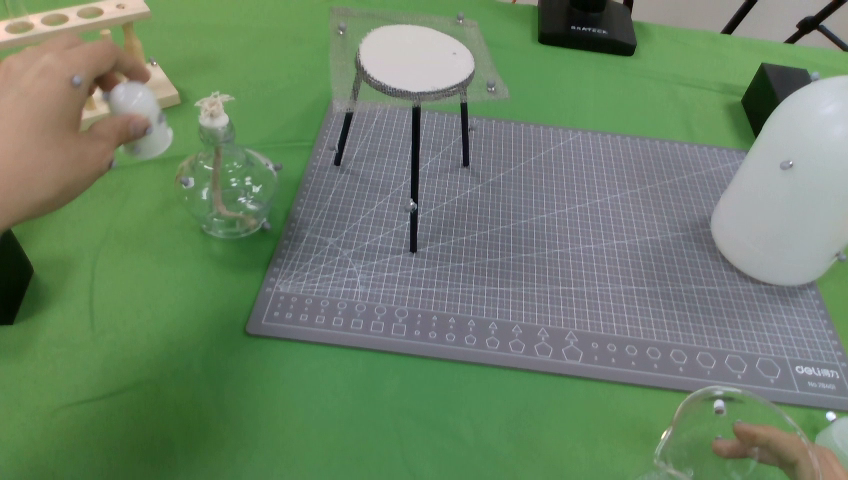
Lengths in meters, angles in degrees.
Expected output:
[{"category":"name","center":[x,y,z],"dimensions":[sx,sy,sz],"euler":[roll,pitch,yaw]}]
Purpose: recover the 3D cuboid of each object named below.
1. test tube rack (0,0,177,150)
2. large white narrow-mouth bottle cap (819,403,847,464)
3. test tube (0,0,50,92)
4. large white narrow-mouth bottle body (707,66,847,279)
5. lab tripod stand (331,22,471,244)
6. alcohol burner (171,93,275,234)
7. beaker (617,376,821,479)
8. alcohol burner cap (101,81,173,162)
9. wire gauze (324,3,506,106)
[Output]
[{"category":"test tube rack","center":[-0.358,-0.142,0.534],"dimensions":[0.243,0.086,0.066],"euler":[-25,56,-26]},{"category":"large white narrow-mouth bottle cap","center":[0.290,0.131,0.409],"dimensions":[0.038,0.024,0.037],"euler":[3,48,-3]},{"category":"test tube","center":[-0.349,-0.194,0.515],"dimensions":[0.017,0.151,0.017],"euler":[4,43,-3]},{"category":"large white narrow-mouth bottle body","center":[0.302,-0.064,0.464],"dimensions":[0.102,0.196,0.101],"euler":[3,48,-3]},{"category":"lab tripod stand","center":[-0.013,-0.092,0.493],"dimensions":[0.148,0.132,0.147],"euler":[4,49,-5]},{"category":"alcohol burner","center":[-0.156,-0.062,0.467],"dimensions":[0.078,0.120,0.077],"euler":[5,46,-4]},{"category":"beaker","center":[0.152,0.134,0.337],"dimensions":[0.084,0.101,0.073],"euler":[-1,48,-6]},{"category":"alcohol burner cap","center":[-0.179,-0.075,0.374],"dimensions":[0.034,0.048,0.033],"euler":[1,52,0]},{"category":"wire gauze","center":[-0.011,-0.139,0.445],"dimensions":[0.122,0.011,0.123],"euler":[-2,50,-10]}]
